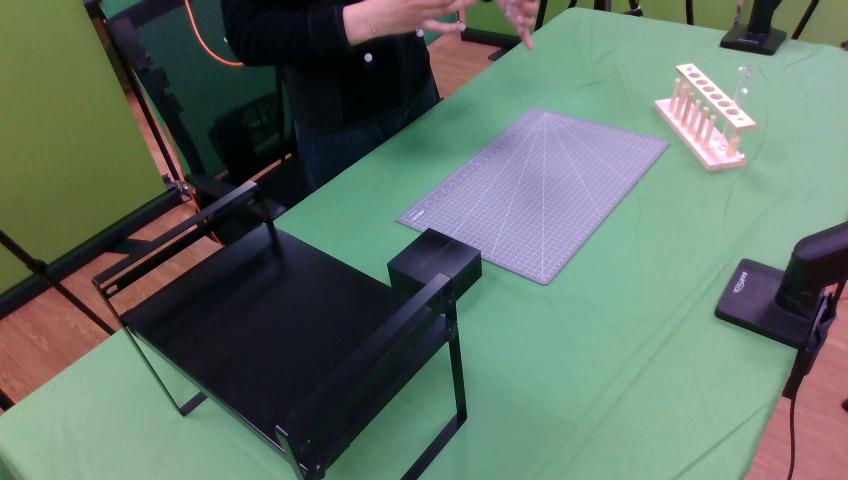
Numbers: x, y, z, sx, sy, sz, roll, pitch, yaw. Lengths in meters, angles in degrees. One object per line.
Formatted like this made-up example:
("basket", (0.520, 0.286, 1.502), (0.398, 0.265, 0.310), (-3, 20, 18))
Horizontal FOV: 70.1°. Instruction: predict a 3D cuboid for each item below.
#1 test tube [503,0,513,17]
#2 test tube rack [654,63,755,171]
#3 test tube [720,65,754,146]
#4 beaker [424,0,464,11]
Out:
("test tube", (0.139, -0.424, 0.976), (0.017, 0.151, 0.017), (-2, 59, 3))
("test tube rack", (0.510, -0.233, 1.120), (0.067, 0.085, 0.241), (-8, 41, -1))
("test tube", (0.533, -0.226, 1.032), (0.017, 0.151, 0.017), (-2, 40, 2))
("beaker", (0.029, -0.420, 0.941), (0.074, 0.101, 0.083), (-17, 53, -9))
